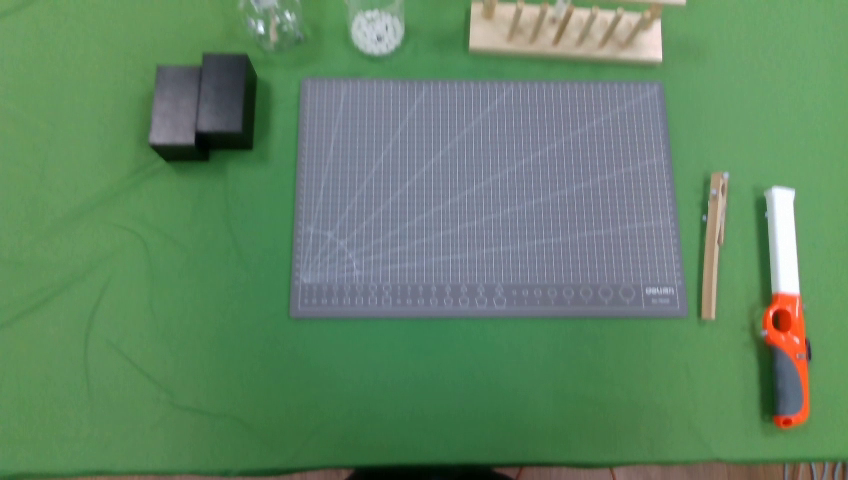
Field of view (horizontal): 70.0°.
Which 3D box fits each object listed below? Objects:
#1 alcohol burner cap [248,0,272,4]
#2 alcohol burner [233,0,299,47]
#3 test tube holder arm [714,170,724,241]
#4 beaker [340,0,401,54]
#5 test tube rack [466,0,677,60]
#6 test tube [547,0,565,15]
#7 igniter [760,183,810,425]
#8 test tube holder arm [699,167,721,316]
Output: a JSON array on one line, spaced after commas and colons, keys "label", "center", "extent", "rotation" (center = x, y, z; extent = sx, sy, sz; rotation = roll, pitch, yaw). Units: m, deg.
[{"label": "alcohol burner cap", "center": [-0.186, -0.289, 0.671], "extent": [0.034, 0.048, 0.033], "rotation": [1, 69, -2]}, {"label": "alcohol burner", "center": [-0.187, -0.280, 0.706], "extent": [0.078, 0.119, 0.077], "rotation": [1, 74, -3]}, {"label": "test tube holder arm", "center": [0.346, -0.041, 0.720], "extent": [0.010, 0.015, 0.087], "rotation": [20, 74, -31]}, {"label": "beaker", "center": [-0.062, -0.274, 0.717], "extent": [0.074, 0.100, 0.083], "rotation": [3, 76, -1]}, {"label": "test tube rack", "center": [0.176, -0.278, 0.735], "extent": [0.242, 0.085, 0.066], "rotation": [4, 76, -1]}, {"label": "test tube", "center": [0.167, -0.303, 0.689], "extent": [0.017, 0.150, 0.017], "rotation": [1, 77, -5]}, {"label": "igniter", "center": [0.408, 0.069, 0.689], "extent": [0.057, 0.025, 0.275], "rotation": [8, 76, -10]}, {"label": "test tube holder arm", "center": [0.334, 0.001, 0.707], "extent": [0.013, 0.015, 0.177], "rotation": [18, 75, -32]}]
